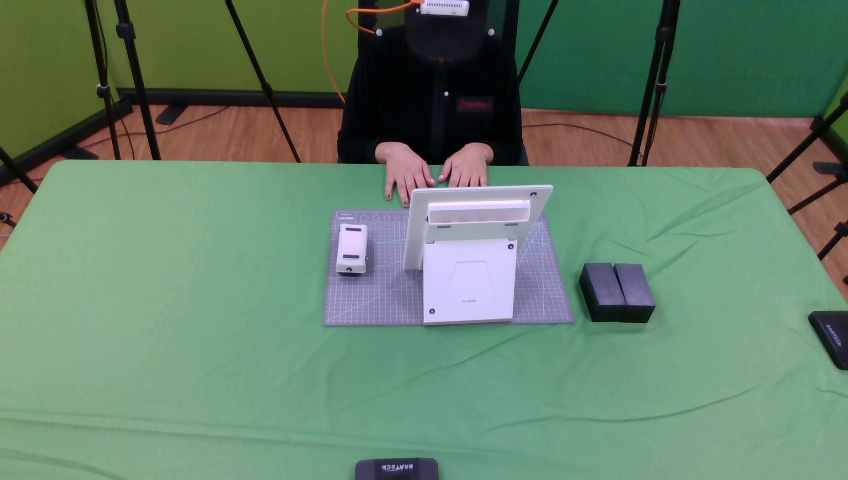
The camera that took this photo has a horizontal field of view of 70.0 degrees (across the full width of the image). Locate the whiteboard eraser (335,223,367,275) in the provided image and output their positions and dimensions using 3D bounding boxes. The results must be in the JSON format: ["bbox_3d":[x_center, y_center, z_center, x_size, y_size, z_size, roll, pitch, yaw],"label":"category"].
[{"bbox_3d":[-0.139,0.017,1.154,0.055,0.042,0.112,1,46,-3],"label":"whiteboard eraser"}]

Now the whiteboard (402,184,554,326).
[{"bbox_3d":[0.081,0.044,1.005,0.217,0.306,0.143,-1,66,-6],"label":"whiteboard"}]
